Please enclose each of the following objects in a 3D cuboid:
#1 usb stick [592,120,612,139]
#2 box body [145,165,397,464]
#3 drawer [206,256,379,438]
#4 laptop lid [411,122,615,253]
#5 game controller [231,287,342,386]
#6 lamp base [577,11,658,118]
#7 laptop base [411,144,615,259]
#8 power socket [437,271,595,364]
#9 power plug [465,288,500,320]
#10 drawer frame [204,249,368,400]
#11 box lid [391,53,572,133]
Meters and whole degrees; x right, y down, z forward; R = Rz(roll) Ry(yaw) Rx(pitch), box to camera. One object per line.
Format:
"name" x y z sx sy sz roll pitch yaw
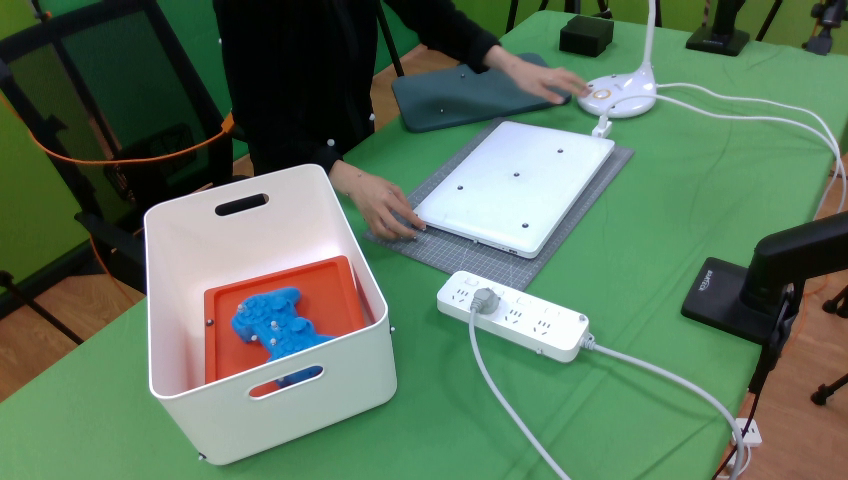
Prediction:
"usb stick" 0.335 -0.203 1.149 0.021 0.027 0.059 25 53 26
"box body" -0.205 0.080 0.802 0.255 0.161 0.361 -18 41 -13
"drawer" -0.177 0.130 0.787 0.195 0.073 0.210 -14 39 -10
"laptop lid" 0.164 -0.112 1.068 0.240 0.013 0.357 19 46 31
"game controller" -0.167 0.110 0.734 0.097 0.052 0.154 -35 47 -22
"lamp base" 0.406 -0.363 1.223 0.180 0.181 0.159 -20 42 -18
"laptop base" 0.167 -0.102 1.075 0.234 0.023 0.355 17 45 30
"power socket" 0.118 0.102 0.830 0.225 0.033 0.072 20 48 28
"power plug" 0.071 0.093 0.813 0.073 0.053 0.035 -36 49 -29
"drawer frame" -0.174 0.129 0.791 0.202 0.083 0.212 -16 45 -8
"box lid" 0.123 -0.339 1.366 0.372 0.015 0.261 -12 40 -5
